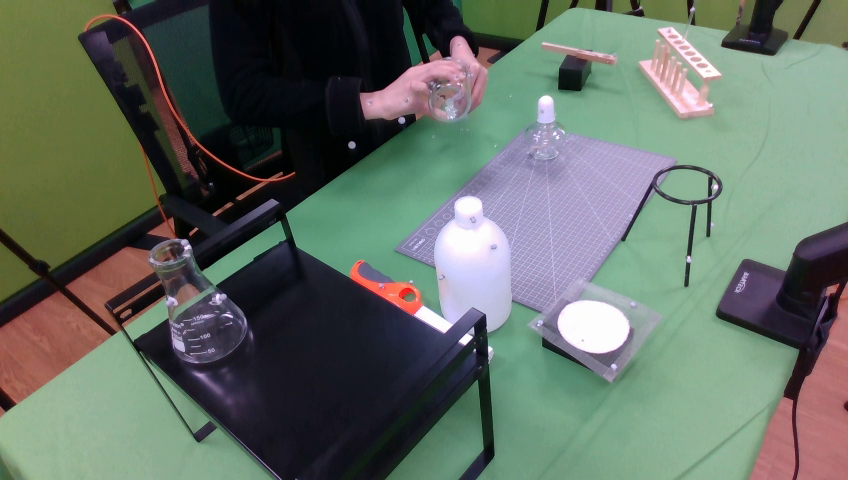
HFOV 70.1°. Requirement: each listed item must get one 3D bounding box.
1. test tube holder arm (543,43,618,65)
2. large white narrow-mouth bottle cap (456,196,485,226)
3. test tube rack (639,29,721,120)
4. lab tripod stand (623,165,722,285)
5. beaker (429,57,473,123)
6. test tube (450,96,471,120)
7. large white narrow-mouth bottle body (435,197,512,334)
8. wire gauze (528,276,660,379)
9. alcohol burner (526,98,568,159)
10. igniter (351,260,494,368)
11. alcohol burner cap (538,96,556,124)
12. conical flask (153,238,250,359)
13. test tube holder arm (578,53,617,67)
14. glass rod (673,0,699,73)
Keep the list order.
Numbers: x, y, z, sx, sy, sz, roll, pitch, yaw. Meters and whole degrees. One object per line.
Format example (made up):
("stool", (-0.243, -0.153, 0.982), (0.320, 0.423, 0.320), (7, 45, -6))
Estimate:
("test tube holder arm", (0.344, -0.413, 1.340), (0.177, 0.015, 0.013), (25, 50, 31))
("large white narrow-mouth bottle cap", (0.057, -0.036, 0.749), (0.038, 0.024, 0.037), (-4, 40, 4))
("test tube rack", (0.527, -0.351, 1.262), (0.067, 0.085, 0.241), (-8, 40, 1))
("lab tripod stand", (0.365, -0.030, 0.874), (0.148, 0.132, 0.147), (-6, 41, 6))
("beaker", (0.044, -0.240, 0.986), (0.074, 0.084, 0.100), (-3, 37, 6))
("test tube", (0.069, -0.242, 1.117), (0.017, 0.017, 0.151), (3, 2, 13))
("large white narrow-mouth bottle body", (0.066, 0.028, 0.805), (0.102, 0.195, 0.101), (-4, 40, 4))
("wire gauze", (0.214, 0.103, 0.763), (0.124, 0.011, 0.122), (30, 52, 35))
("alcohol burner", (0.228, -0.210, 1.118), (0.078, 0.119, 0.077), (-5, 43, 5))
("igniter", (-0.013, 0.098, 0.864), (0.274, 0.025, 0.057), (30, 65, 36))
("alcohol burner cap", (0.222, -0.237, 1.095), (0.034, 0.048, 0.033), (-7, 35, 5))
("conical flask", (-0.225, 0.055, 0.597), (0.075, 0.122, 0.075), (-5, 41, 4))
("test tube holder arm", (0.376, -0.393, 1.314), (0.087, 0.015, 0.010), (26, 51, 32))
("glass rod", (0.538, -0.425, 1.245), (0.008, 0.200, 0.008), (0, 47, 0))
